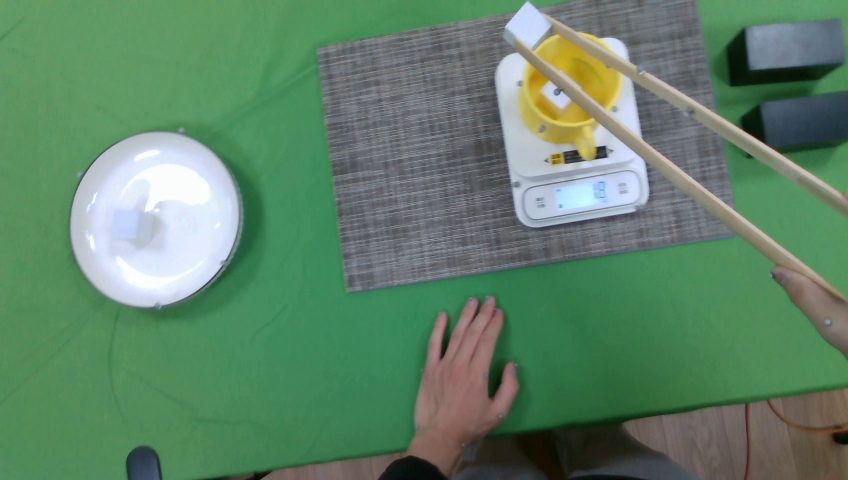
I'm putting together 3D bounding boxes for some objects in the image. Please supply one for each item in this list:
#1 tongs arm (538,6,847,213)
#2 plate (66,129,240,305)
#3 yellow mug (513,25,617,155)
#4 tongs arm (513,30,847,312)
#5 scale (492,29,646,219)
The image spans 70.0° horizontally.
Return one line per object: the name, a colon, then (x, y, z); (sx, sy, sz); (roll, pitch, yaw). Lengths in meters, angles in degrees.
tongs arm: (0.213, -0.080, 0.467); (0.051, 0.027, 0.381); (-47, 60, 2)
plate: (-0.317, -0.026, 0.721); (0.207, 0.039, 0.207); (0, 85, 4)
yellow mug: (0.152, -0.153, 0.643); (0.100, 0.064, 0.130); (-19, 85, 2)
tongs arm: (0.196, -0.064, 0.469); (0.028, 0.028, 0.383); (-41, 60, 1)
scale: (0.164, -0.132, 0.688); (0.148, 0.031, 0.200); (-10, 85, 5)
